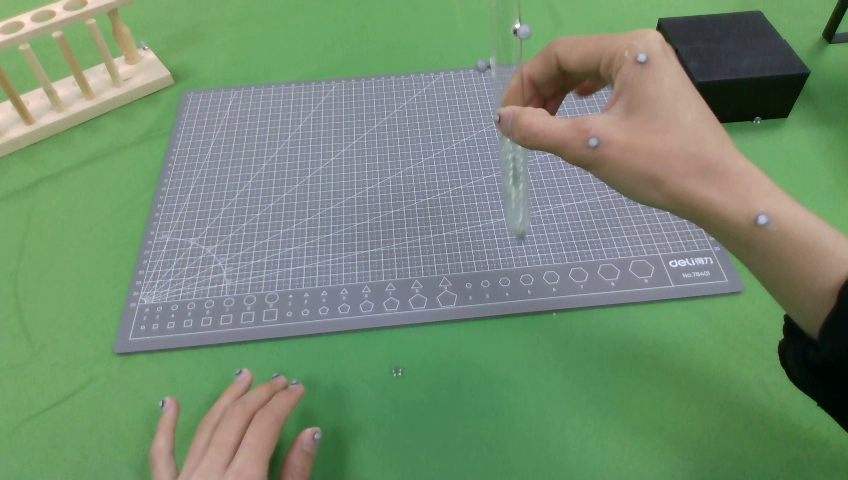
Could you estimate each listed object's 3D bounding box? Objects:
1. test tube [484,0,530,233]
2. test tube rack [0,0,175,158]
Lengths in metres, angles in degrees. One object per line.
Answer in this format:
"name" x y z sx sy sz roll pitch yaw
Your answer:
"test tube" 0.045 -0.060 0.319 0.017 0.152 0.017 -6 44 7
"test tube rack" -0.374 -0.147 0.564 0.242 0.086 0.066 -31 56 -21
